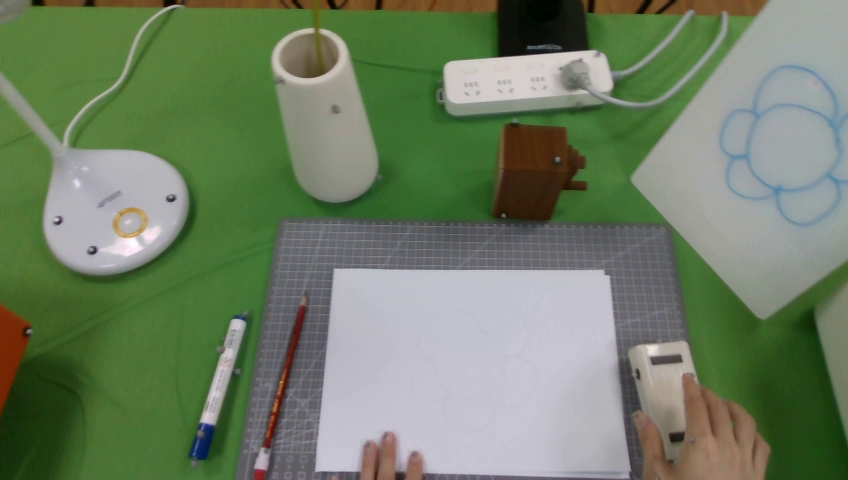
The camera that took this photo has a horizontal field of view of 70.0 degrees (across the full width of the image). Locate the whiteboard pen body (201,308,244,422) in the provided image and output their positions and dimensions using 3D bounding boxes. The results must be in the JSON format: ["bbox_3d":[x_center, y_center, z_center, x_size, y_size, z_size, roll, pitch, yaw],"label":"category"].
[{"bbox_3d":[-0.204,0.134,0.609,0.017,0.017,0.139,5,60,3],"label":"whiteboard pen body"}]

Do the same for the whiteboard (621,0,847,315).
[{"bbox_3d":[0.389,-0.108,0.604,0.144,0.307,0.215,-20,63,-30],"label":"whiteboard"}]

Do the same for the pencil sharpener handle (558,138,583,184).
[{"bbox_3d":[0.163,-0.083,0.655,0.030,0.068,0.035,3,62,2],"label":"pencil sharpener handle"}]

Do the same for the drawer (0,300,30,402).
[{"bbox_3d":[-0.491,0.141,0.524,0.212,0.074,0.193,3,64,2],"label":"drawer"}]

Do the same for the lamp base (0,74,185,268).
[{"bbox_3d":[-0.367,-0.082,0.629,0.178,0.182,0.160,31,67,18],"label":"lamp base"}]

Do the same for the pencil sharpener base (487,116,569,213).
[{"bbox_3d":[0.112,-0.080,0.668,0.077,0.108,0.061,3,63,2],"label":"pencil sharpener base"}]

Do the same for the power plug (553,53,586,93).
[{"bbox_3d":[0.175,-0.196,0.741,0.035,0.053,0.072,5,65,3],"label":"power plug"}]

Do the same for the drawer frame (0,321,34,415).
[{"bbox_3d":[-0.497,0.143,0.526,0.214,0.083,0.200,4,64,0],"label":"drawer frame"}]

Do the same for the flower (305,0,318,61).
[{"bbox_3d":[-0.105,-0.183,0.577,0.038,0.365,0.043,-10,45,-12],"label":"flower"}]

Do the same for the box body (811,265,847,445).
[{"bbox_3d":[0.521,0.174,0.508,0.254,0.161,0.361,0,63,0],"label":"box body"}]

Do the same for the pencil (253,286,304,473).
[{"bbox_3d":[-0.144,0.134,0.614,0.012,0.012,0.192,6,62,4],"label":"pencil"}]

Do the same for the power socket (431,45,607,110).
[{"bbox_3d":[0.122,-0.207,0.772,0.227,0.033,0.071,-4,64,-2],"label":"power socket"}]

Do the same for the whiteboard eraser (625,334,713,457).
[{"bbox_3d":[0.235,0.149,0.587,0.055,0.042,0.111,-4,64,-4],"label":"whiteboard eraser"}]

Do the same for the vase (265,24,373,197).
[{"bbox_3d":[-0.111,-0.129,0.642,0.098,0.201,0.097,-1,63,2],"label":"vase"}]

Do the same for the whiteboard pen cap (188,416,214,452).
[{"bbox_3d":[-0.212,0.185,0.579,0.018,0.018,0.033,5,58,3],"label":"whiteboard pen cap"}]
